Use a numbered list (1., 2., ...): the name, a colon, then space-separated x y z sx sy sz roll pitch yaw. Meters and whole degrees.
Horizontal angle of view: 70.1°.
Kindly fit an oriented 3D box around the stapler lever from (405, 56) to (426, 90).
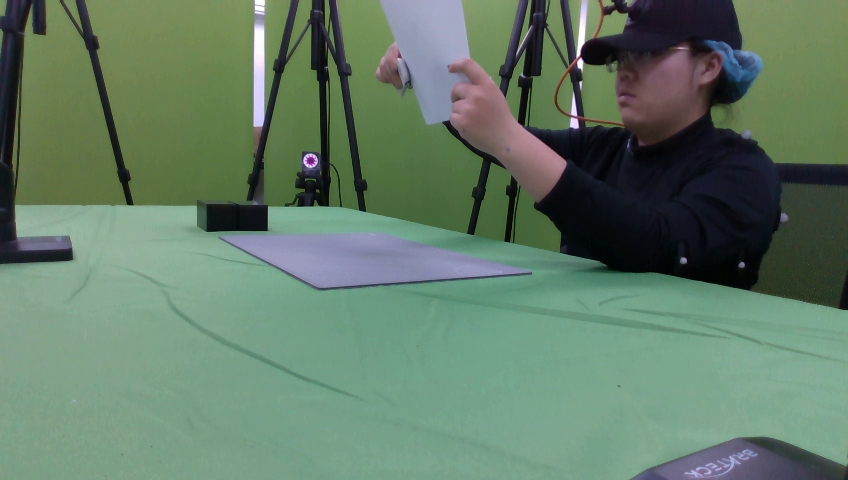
1. stapler lever: -0.018 -0.291 1.056 0.040 0.027 0.118 -25 3 0

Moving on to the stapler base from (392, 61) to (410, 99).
1. stapler base: -0.035 -0.282 1.053 0.024 0.041 0.130 -26 3 -6
